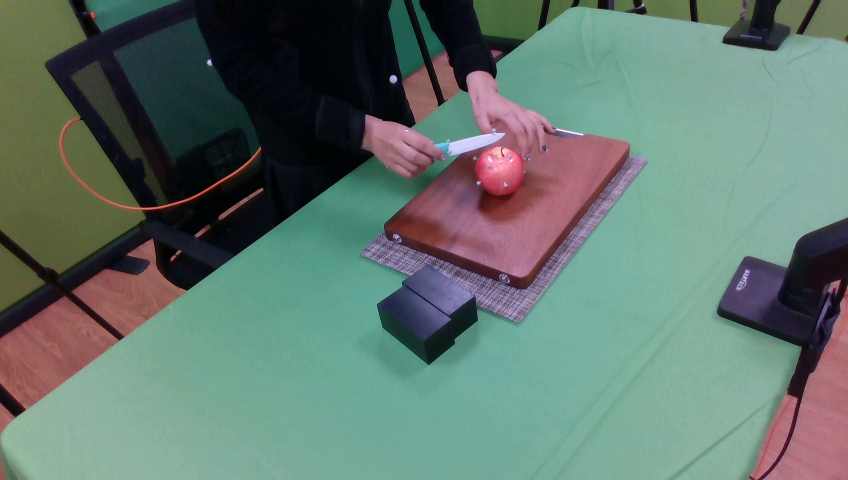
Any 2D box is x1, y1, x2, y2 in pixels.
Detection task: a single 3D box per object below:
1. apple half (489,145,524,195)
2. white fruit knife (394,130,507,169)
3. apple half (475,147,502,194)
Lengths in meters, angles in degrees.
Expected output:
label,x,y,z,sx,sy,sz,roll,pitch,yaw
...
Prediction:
label,x,y,z,sx,sy,sz,roll,pitch,yaw
apple half,0.141,-0.119,1.013,0.053,0.075,0.080,-12,36,-10
white fruit knife,0.037,-0.146,0.958,0.206,0.027,0.016,-11,35,28
apple half,0.103,-0.110,1.008,0.033,0.081,0.080,-13,40,-10
